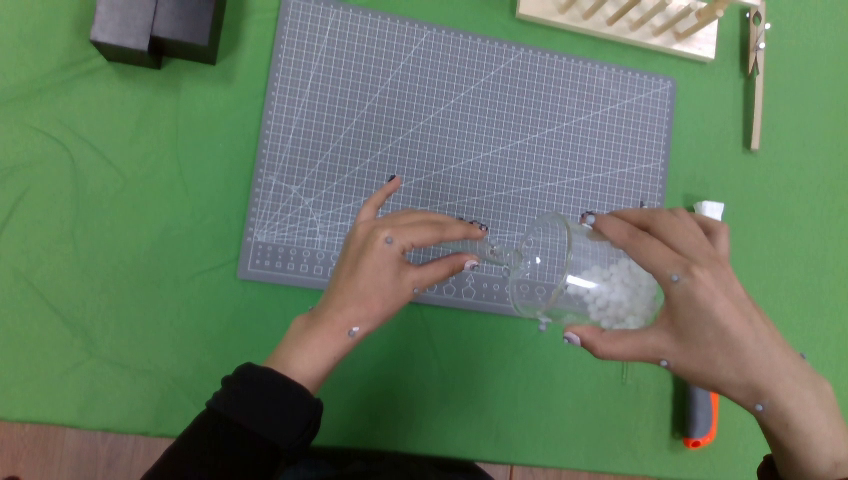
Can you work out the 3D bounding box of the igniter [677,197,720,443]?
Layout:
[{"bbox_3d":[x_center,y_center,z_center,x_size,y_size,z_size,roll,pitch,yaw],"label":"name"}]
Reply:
[{"bbox_3d":[0.312,0.089,0.686,0.057,0.025,0.276,6,86,-21],"label":"igniter"}]

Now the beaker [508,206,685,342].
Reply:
[{"bbox_3d":[0.118,0.027,0.420,0.101,0.083,0.074,17,87,-17],"label":"beaker"}]

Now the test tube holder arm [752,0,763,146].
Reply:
[{"bbox_3d":[0.397,-0.201,0.722,0.013,0.015,0.178,-1,86,25],"label":"test tube holder arm"}]

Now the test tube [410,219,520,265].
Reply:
[{"bbox_3d":[0.029,-0.001,0.505,0.017,0.149,0.017,-7,103,-30],"label":"test tube"}]

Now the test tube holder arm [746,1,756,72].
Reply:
[{"bbox_3d":[0.392,-0.246,0.726,0.010,0.015,0.087,0,87,25],"label":"test tube holder arm"}]

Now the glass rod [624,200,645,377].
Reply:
[{"bbox_3d":[0.236,0.054,0.678,0.008,0.008,0.199,8,85,-11],"label":"glass rod"}]

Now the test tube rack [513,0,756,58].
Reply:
[{"bbox_3d":[0.228,-0.270,0.659,0.243,0.085,0.066,9,85,-11],"label":"test tube rack"}]
